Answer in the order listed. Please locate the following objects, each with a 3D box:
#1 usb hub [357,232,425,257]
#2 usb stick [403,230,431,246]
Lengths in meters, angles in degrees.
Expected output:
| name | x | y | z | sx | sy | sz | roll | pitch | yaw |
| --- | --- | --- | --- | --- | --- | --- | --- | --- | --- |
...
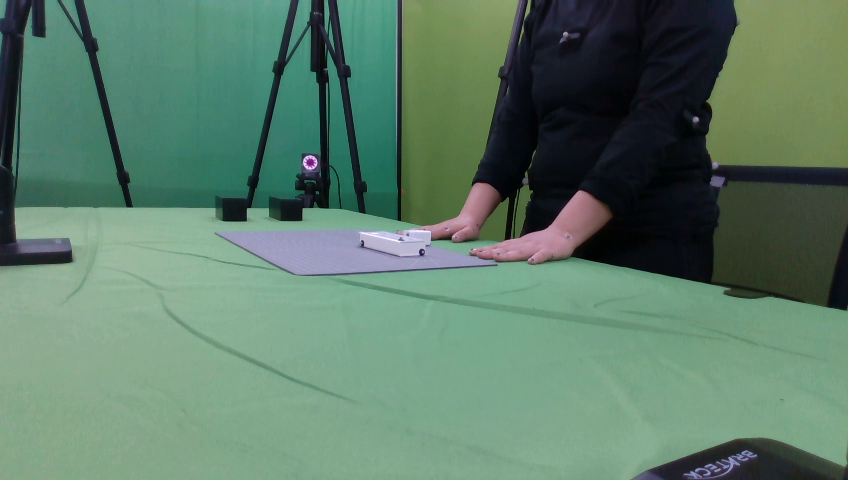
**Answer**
| name | x | y | z | sx | sy | sz | roll | pitch | yaw |
| --- | --- | --- | --- | --- | --- | --- | --- | --- | --- |
| usb hub | -0.055 | 0.005 | 0.947 | 0.050 | 0.025 | 0.124 | -3 | 9 | -36 |
| usb stick | -0.019 | -0.002 | 1.020 | 0.059 | 0.027 | 0.021 | -5 | 14 | -34 |
